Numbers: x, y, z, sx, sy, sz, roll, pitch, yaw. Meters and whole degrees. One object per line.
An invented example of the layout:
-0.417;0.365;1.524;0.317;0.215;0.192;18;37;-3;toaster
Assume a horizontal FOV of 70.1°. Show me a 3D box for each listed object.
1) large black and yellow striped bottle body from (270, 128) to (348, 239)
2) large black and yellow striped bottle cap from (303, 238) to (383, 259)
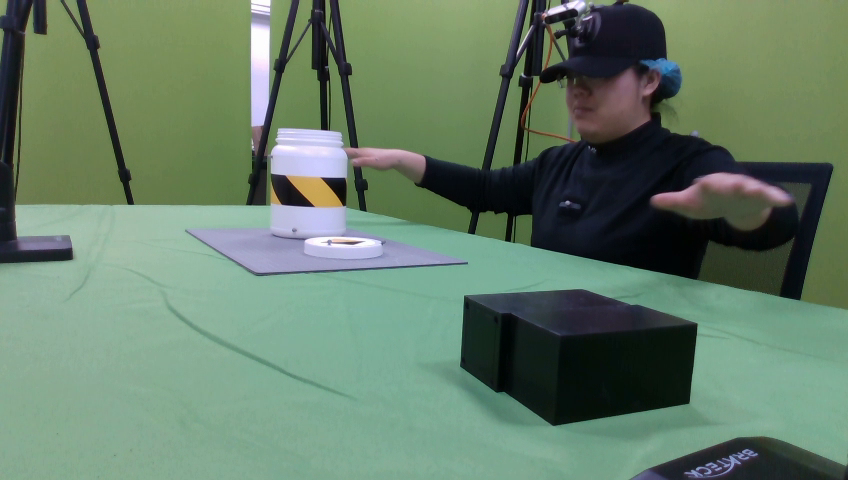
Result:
-0.200;-0.099;1.053;0.131;0.184;0.130;3;8;0;large black and yellow striped bottle body
-0.117;0.011;0.880;0.115;0.019;0.115;2;6;0;large black and yellow striped bottle cap
